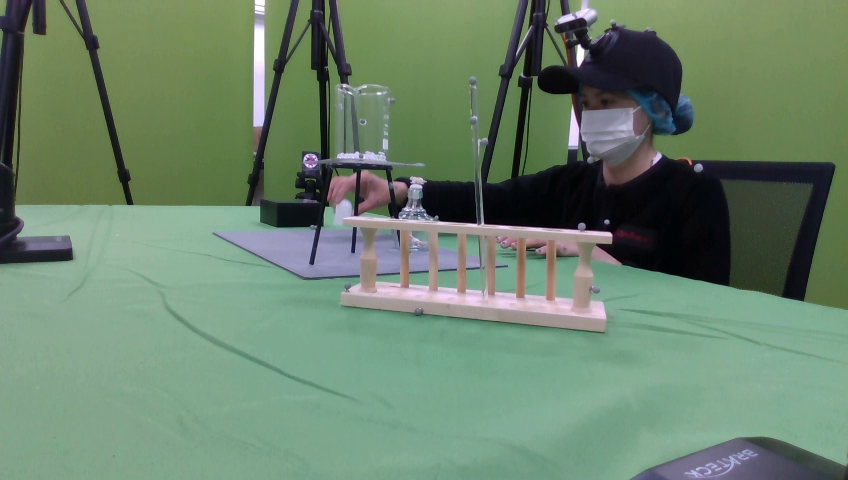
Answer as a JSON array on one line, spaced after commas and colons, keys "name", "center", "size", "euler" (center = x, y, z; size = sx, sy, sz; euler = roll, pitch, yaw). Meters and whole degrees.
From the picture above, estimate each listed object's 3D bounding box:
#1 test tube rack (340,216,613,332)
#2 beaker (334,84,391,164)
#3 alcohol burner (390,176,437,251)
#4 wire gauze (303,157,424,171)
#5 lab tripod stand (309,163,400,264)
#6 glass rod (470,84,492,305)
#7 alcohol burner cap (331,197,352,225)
[{"name": "test tube rack", "center": [0.048, 0.026, 0.568], "size": [0.242, 0.085, 0.067], "euler": [4, 8, 13]}, {"name": "beaker", "center": [-0.082, -0.149, 0.791], "size": [0.074, 0.100, 0.084], "euler": [2, 5, 4]}, {"name": "alcohol burner", "center": [-0.016, -0.042, 0.955], "size": [0.078, 0.119, 0.078], "euler": [4, 5, 0]}, {"name": "wire gauze", "center": [-0.082, -0.101, 0.799], "size": [0.126, 0.011, 0.121], "euler": [1, 7, -30]}, {"name": "lab tripod stand", "center": [-0.091, -0.037, 0.813], "size": [0.148, 0.131, 0.148], "euler": [1, 6, 0]}, {"name": "glass rod", "center": [0.051, -0.036, 0.535], "size": [0.008, 0.199, 0.008], "euler": [-5, 10, 1]}, {"name": "alcohol burner cap", "center": [-0.140, -0.051, 1.041], "size": [0.034, 0.048, 0.034], "euler": [10, 7, -1]}]
